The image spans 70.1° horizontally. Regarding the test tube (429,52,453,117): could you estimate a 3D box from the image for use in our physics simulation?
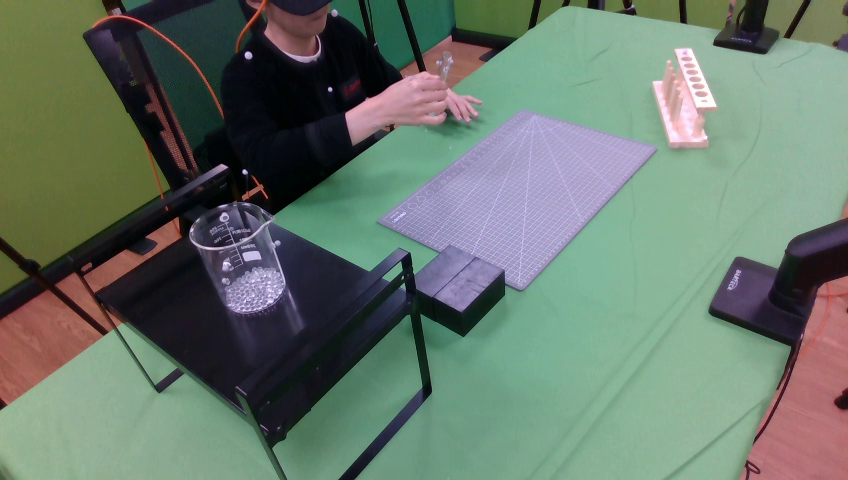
[{"bbox_3d":[0.028,-0.263,1.039,0.017,0.150,0.017,5,61,-8],"label":"test tube"}]

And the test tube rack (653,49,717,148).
[{"bbox_3d":[0.502,-0.281,1.177,0.066,0.085,0.241,1,41,11],"label":"test tube rack"}]

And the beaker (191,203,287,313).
[{"bbox_3d":[-0.189,0.021,0.642,0.084,0.101,0.073,-17,41,-11],"label":"beaker"}]
